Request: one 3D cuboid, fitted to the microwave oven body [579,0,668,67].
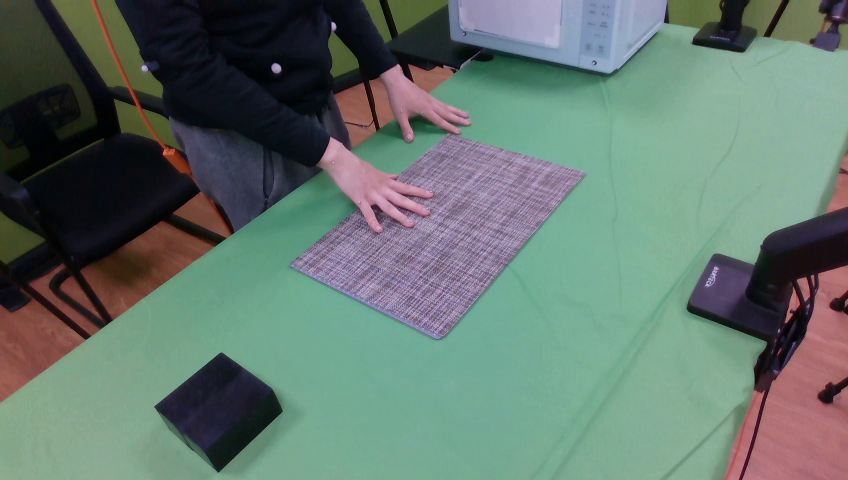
[{"bbox_3d":[0.325,-0.609,1.437,0.438,0.261,0.327,23,50,30],"label":"microwave oven body"}]

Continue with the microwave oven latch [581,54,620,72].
[{"bbox_3d":[0.386,-0.393,1.330,0.078,0.029,0.030,24,51,32],"label":"microwave oven latch"}]

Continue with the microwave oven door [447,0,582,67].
[{"bbox_3d":[0.203,-0.544,1.372,0.353,0.245,0.039,23,49,29],"label":"microwave oven door"}]

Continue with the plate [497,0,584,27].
[{"bbox_3d":[0.286,-0.572,1.488,0.209,0.038,0.208,-5,41,5],"label":"plate"}]
